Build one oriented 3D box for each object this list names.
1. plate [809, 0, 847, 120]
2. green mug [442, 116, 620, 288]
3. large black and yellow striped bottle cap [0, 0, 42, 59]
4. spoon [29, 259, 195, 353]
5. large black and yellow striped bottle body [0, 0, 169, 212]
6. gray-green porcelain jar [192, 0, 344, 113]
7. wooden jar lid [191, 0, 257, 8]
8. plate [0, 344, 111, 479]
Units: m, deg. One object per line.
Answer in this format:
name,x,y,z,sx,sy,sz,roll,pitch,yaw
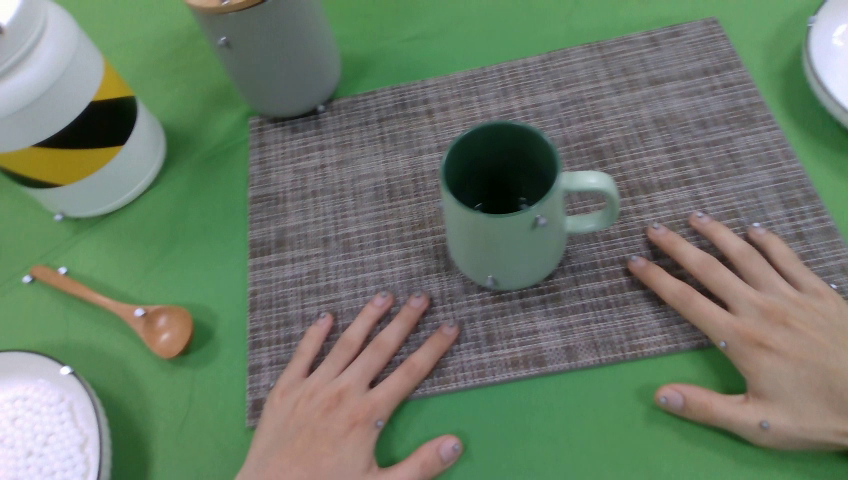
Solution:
plate,0.415,-0.139,0.477,0.207,0.039,0.206,-4,61,8
green mug,0.074,-0.025,0.430,0.125,0.106,0.091,-3,61,8
large black and yellow striped bottle cap,-0.333,-0.160,0.434,0.115,0.019,0.114,-4,60,7
spoon,-0.261,0.046,0.499,0.193,0.022,0.041,19,85,18
large black and yellow striped bottle body,-0.318,-0.121,0.507,0.130,0.185,0.129,-4,61,8
gray-green porcelain jar,-0.134,-0.187,0.543,0.106,0.128,0.105,-5,57,7
wooden jar lid,-0.144,-0.221,0.491,0.108,0.021,0.107,-6,60,10
plate,-0.316,0.177,0.428,0.209,0.038,0.207,-4,61,7
